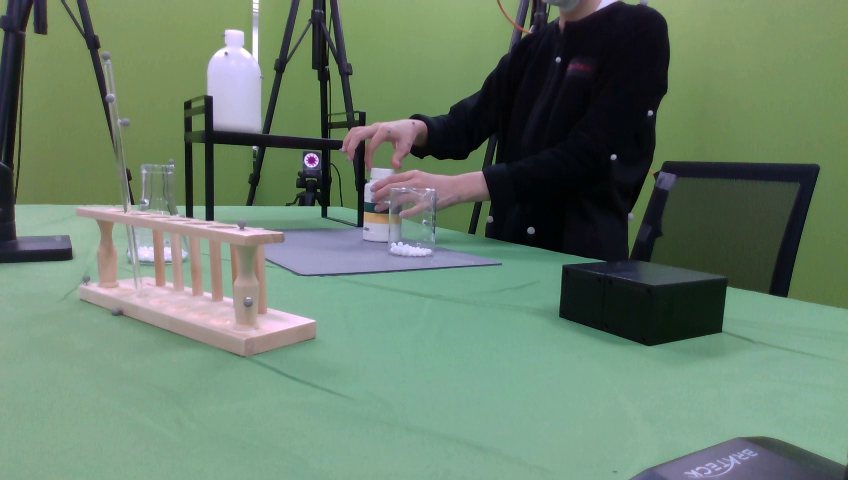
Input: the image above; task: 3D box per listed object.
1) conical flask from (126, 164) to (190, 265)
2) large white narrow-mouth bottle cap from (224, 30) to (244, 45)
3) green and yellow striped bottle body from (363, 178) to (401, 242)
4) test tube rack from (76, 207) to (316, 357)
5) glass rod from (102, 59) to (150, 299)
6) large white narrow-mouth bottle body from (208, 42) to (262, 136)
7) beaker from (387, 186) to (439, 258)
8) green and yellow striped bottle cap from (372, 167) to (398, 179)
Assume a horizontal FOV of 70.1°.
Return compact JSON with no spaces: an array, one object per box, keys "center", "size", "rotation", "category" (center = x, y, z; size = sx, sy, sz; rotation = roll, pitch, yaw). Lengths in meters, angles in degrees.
[{"center":[-0.332,-0.033,0.756],"size":[0.075,0.122,0.075],"rotation":[2,7,0],"category":"conical flask"},{"center":[-0.365,-0.389,1.166],"size":[0.038,0.024,0.037],"rotation":[2,9,0],"category":"large white narrow-mouth bottle cap"},{"center":[-0.071,-0.059,1.036],"size":[0.063,0.119,0.063],"rotation":[3,8,0],"category":"green and yellow striped bottle body"},{"center":[-0.196,0.023,0.500],"size":[0.241,0.085,0.067],"rotation":[8,9,36],"category":"test tube rack"},{"center":[-0.243,-0.045,0.496],"size":[0.008,0.199,0.008],"rotation":[-4,13,1],"category":"glass rod"},{"center":[-0.368,-0.304,1.181],"size":[0.102,0.194,0.101],"rotation":[2,9,0],"category":"large white narrow-mouth bottle body"},{"center":[-0.015,-0.027,0.886],"size":[0.074,0.100,0.083],"rotation":[-1,8,-20],"category":"beaker"},{"center":[-0.067,-0.113,1.029],"size":[0.045,0.020,0.045],"rotation":[-2,7,1],"category":"green and yellow striped bottle cap"}]
